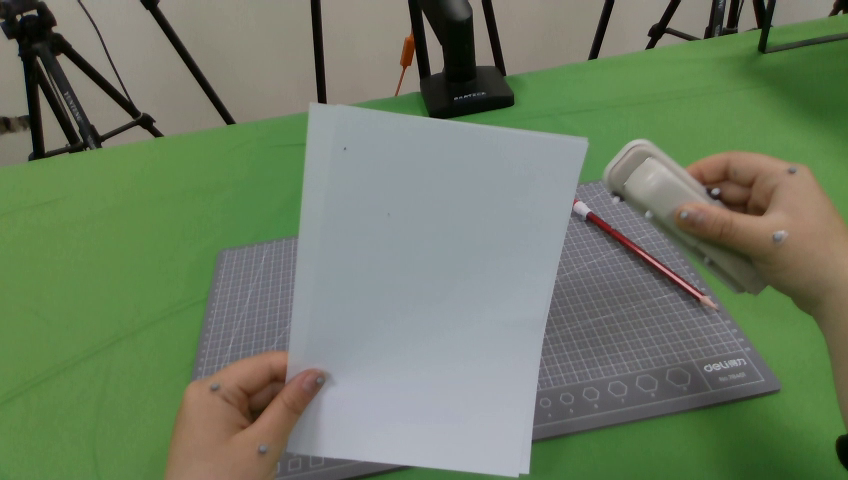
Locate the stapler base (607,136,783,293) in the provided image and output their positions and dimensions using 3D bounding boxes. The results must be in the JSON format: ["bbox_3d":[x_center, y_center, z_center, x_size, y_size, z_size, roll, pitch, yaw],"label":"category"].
[{"bbox_3d":[0.181,-0.015,0.403,0.131,0.041,0.024,39,20,-5],"label":"stapler base"}]

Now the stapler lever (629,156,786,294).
[{"bbox_3d":[0.179,-0.008,0.380,0.118,0.027,0.040,40,20,-4],"label":"stapler lever"}]

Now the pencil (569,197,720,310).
[{"bbox_3d":[0.199,0.008,0.565,0.012,0.012,0.192,-23,41,-17],"label":"pencil"}]
